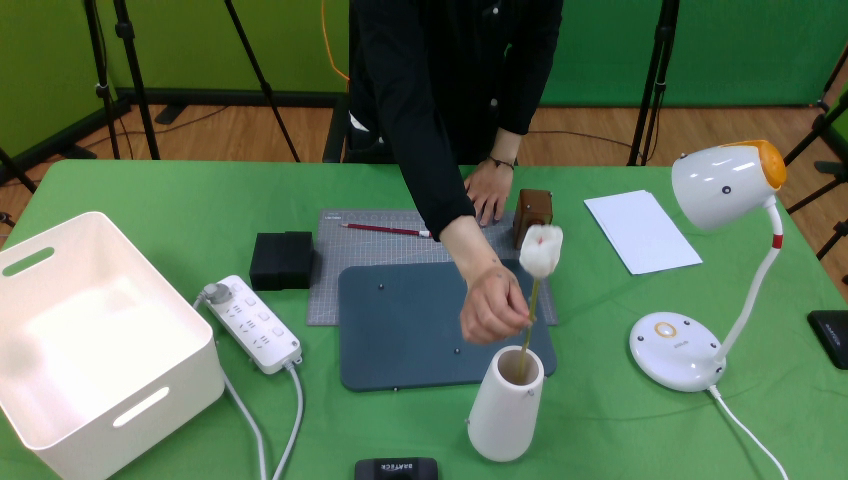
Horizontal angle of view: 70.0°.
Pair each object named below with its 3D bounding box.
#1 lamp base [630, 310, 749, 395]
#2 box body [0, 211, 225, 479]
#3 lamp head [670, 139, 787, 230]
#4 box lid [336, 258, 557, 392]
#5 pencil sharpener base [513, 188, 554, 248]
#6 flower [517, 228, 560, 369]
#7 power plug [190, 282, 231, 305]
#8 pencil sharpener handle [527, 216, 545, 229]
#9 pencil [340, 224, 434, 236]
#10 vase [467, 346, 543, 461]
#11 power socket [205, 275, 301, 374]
[{"bbox_3d":[0.447,0.143,0.984,0.161,0.181,0.178,-24,55,-24],"label":"lamp base"},{"bbox_3d":[-0.504,0.154,0.916,0.362,0.161,0.254,36,54,27],"label":"box body"},{"bbox_3d":[0.415,-0.078,0.812,0.113,0.123,0.112,12,70,-37],"label":"lamp head"},{"bbox_3d":[0.030,0.140,1.073,0.372,0.015,0.261,-3,47,-7],"label":"box lid"},{"bbox_3d":[0.213,-0.038,1.187,0.061,0.107,0.076,5,47,0],"label":"pencil sharpener base"},{"bbox_3d":[0.126,0.104,0.735,0.044,0.363,0.038,-31,57,-17],"label":"flower"},{"bbox_3d":[-0.368,0.098,1.039,0.072,0.053,0.035,-26,55,-20],"label":"power plug"},{"bbox_3d":[0.208,-0.010,1.143,0.036,0.068,0.030,10,46,-5],"label":"pencil sharpener handle"},{"bbox_3d":[-0.076,-0.021,1.219,0.194,0.012,0.012,5,46,4],"label":"pencil"},{"bbox_3d":[0.116,0.234,0.860,0.098,0.201,0.097,1,47,-1],"label":"vase"},{"bbox_3d":[-0.296,0.140,1.035,0.072,0.033,0.225,-32,57,-29],"label":"power socket"}]
